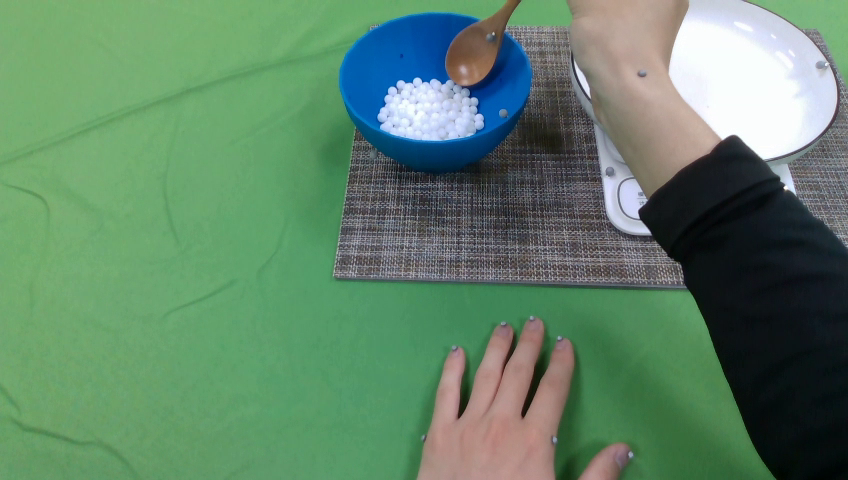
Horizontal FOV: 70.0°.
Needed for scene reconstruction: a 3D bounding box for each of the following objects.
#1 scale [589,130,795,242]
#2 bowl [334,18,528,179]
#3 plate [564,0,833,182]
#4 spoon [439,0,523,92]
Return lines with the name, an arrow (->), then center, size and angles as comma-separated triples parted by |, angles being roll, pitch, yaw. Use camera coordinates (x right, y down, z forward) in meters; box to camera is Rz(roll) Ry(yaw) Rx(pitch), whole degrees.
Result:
scale -> 0.216, -0.087, 0.512 | 0.148, 0.032, 0.199 | 1, 56, 2
bowl -> 0.006, -0.104, 0.499 | 0.151, 0.077, 0.150 | 0, 56, 1
plate -> 0.217, -0.124, 0.498 | 0.209, 0.038, 0.207 | 0, 56, 0
spoon -> 0.066, -0.172, 0.442 | 0.021, 0.194, 0.041 | -36, 88, -34
